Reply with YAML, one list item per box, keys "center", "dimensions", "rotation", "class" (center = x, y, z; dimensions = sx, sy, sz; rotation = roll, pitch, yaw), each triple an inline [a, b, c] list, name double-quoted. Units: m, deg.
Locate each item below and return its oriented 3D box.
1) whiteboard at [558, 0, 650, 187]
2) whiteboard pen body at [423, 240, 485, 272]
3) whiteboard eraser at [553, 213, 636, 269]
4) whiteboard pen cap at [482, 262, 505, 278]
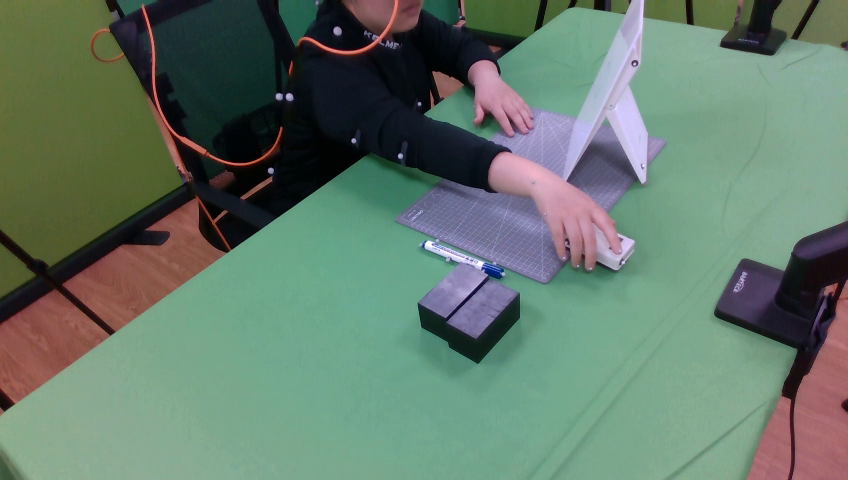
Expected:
- center: [0.362, -0.238, 1.026]
  dimensions: [0.144, 0.306, 0.217]
  rotation: [21, 45, 4]
  class: "whiteboard"
- center: [0.057, 0.028, 0.942]
  dimensions: [0.139, 0.017, 0.017]
  rotation: [22, 48, 30]
  class: "whiteboard pen body"
- center: [0.258, 0.003, 0.918]
  dimensions: [0.112, 0.042, 0.056]
  rotation: [27, 50, 29]
  class: "whiteboard eraser"
- center: [0.104, 0.044, 0.912]
  dimensions: [0.033, 0.018, 0.018]
  rotation: [22, 49, 29]
  class: "whiteboard pen cap"
